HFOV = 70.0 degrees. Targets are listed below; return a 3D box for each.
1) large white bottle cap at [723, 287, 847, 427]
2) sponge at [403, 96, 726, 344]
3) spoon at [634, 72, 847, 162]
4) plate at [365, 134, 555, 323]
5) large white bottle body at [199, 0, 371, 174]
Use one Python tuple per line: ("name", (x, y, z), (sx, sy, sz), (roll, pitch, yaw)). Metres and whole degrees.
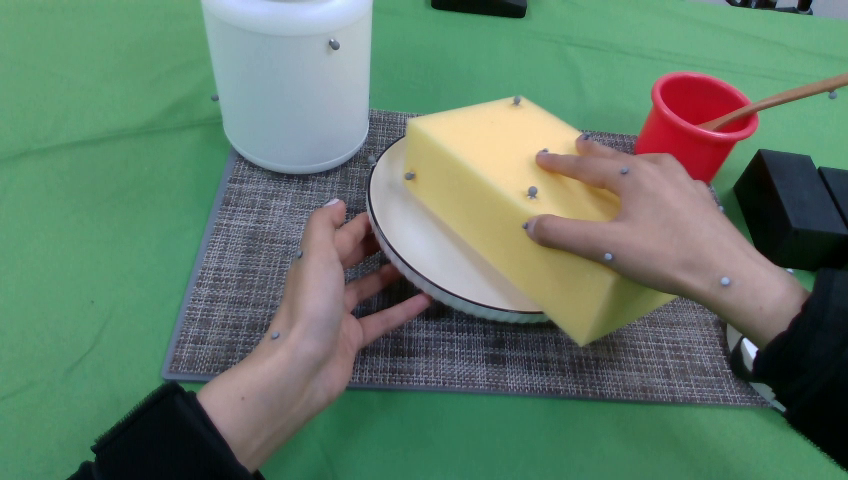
("large white bottle cap", (0.290, 0.086, 0.466), (0.115, 0.018, 0.113), (6, 50, -7))
("sponge", (0.091, -0.029, 0.449), (0.118, 0.061, 0.204), (-20, 46, -32))
("spoon", (0.289, -0.113, 0.551), (0.193, 0.022, 0.041), (-21, 38, 32))
("plate", (0.054, -0.015, 0.490), (0.210, 0.038, 0.207), (9, 47, -9))
("large white bottle body", (-0.110, -0.162, 0.501), (0.131, 0.186, 0.129), (4, 49, -4))
